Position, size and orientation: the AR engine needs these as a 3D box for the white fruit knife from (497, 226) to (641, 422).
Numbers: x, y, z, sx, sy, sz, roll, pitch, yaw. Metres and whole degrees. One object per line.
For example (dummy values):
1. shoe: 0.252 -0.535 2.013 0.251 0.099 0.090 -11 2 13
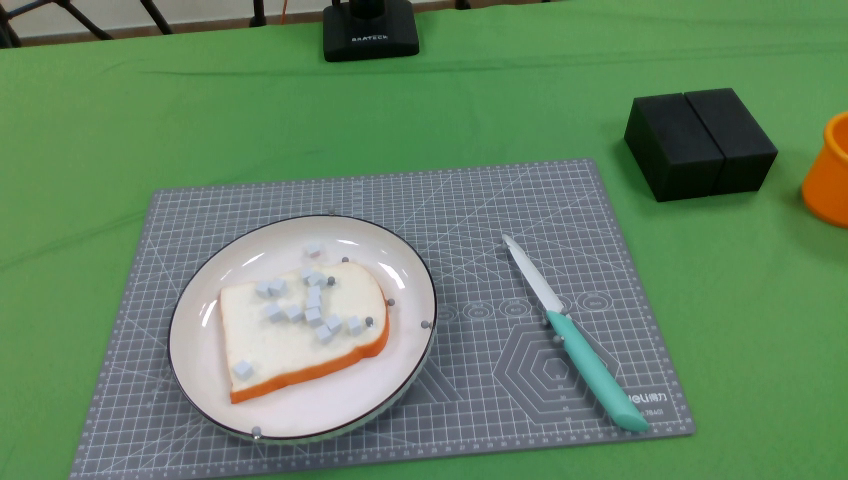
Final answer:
1. white fruit knife: 0.108 0.059 0.496 0.027 0.016 0.205 4 41 -34

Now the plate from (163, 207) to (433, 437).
1. plate: -0.096 0.061 0.484 0.209 0.038 0.207 0 50 1

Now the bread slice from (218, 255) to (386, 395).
1. bread slice: -0.098 0.058 0.489 0.132 0.019 0.103 -16 51 -11
